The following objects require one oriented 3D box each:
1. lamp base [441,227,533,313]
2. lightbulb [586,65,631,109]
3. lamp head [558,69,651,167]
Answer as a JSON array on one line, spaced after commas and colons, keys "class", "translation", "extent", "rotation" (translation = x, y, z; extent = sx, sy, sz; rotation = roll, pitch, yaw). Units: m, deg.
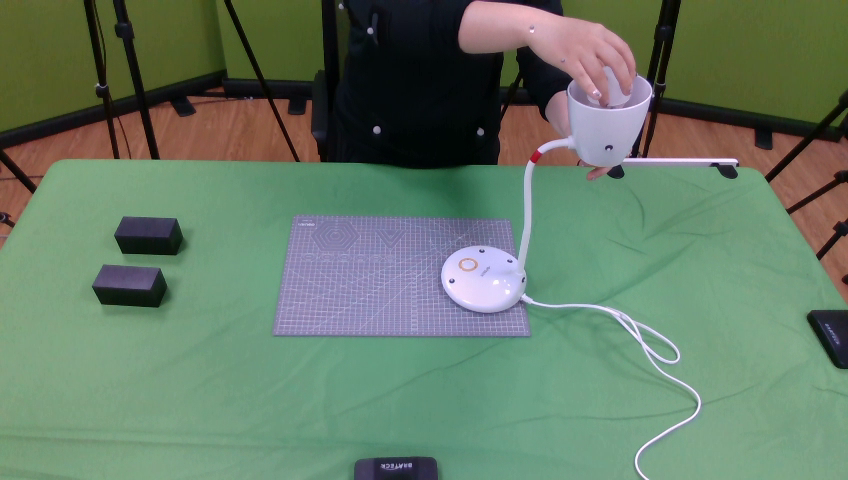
[{"class": "lamp base", "translation": [0.126, 0.022, 1.072], "extent": [0.179, 0.181, 0.160], "rotation": [23, 49, 14]}, {"class": "lightbulb", "translation": [0.255, -0.189, 0.843], "extent": [0.059, 0.108, 0.059], "rotation": [-6, 36, 4]}, {"class": "lamp head", "translation": [0.251, -0.164, 0.860], "extent": [0.112, 0.123, 0.111], "rotation": [0, 42, 0]}]
